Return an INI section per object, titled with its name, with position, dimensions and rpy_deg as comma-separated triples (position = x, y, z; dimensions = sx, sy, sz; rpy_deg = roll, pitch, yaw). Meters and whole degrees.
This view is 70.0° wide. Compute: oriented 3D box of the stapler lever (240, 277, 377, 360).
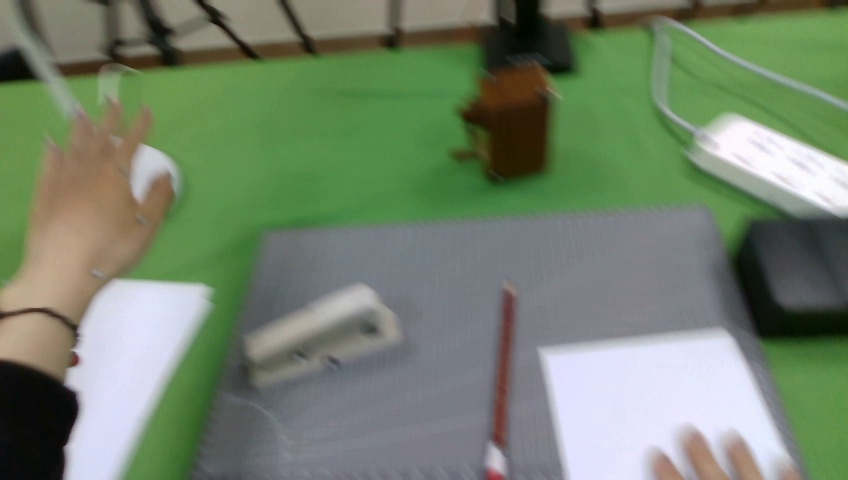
[stapler lever]
position = -0.097, 0.064, 0.504
dimensions = 0.118, 0.040, 0.026
rpy_deg = -18, 49, -7

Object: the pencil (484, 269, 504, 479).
[pencil]
position = 0.059, 0.099, 0.494
dimensions = 0.012, 0.012, 0.192
rpy_deg = 1, 49, 9

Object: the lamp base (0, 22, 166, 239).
[lamp base]
position = -0.386, -0.120, 0.630
dimensions = 0.161, 0.182, 0.177
rpy_deg = -28, 49, -16

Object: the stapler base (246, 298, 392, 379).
[stapler base]
position = -0.093, 0.079, 0.523
dimensions = 0.131, 0.025, 0.041
rpy_deg = -18, 49, -6

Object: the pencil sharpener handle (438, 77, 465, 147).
[pencil sharpener handle]
position = 0.025, -0.128, 0.614
dimensions = 0.030, 0.068, 0.035
rpy_deg = -12, 28, -2

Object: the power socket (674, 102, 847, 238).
[power socket]
position = 0.356, -0.068, 0.585
dimensions = 0.072, 0.033, 0.224
rpy_deg = -36, 54, -22

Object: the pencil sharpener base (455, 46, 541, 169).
[pencil sharpener base]
position = 0.075, -0.135, 0.630
dimensions = 0.077, 0.108, 0.060
rpy_deg = -12, 50, -2
